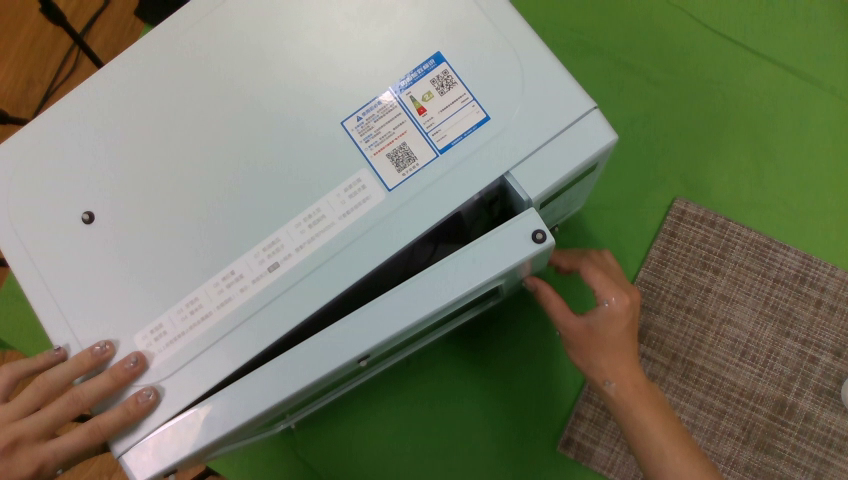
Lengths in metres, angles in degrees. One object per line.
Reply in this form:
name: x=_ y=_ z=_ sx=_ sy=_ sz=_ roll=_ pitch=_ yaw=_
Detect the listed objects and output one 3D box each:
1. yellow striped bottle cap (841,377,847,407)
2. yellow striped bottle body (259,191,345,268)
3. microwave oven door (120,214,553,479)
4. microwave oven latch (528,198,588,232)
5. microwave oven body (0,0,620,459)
yellow striped bottle cap: x=0.440 y=0.153 z=0.599 sx=0.044 sy=0.019 sz=0.044 roll=-1 pitch=81 yaw=9
yellow striped bottle body: x=-0.117 y=-0.009 z=0.582 sx=0.063 sy=0.120 sz=0.062 roll=0 pitch=82 yaw=3
microwave oven door: x=-0.049 y=0.097 z=0.546 sx=0.356 sy=0.245 sz=0.039 roll=-31 pitch=77 yaw=2
microwave oven latch: x=0.135 y=-0.029 z=0.643 sx=0.079 sy=0.029 sz=0.030 roll=-35 pitch=79 yaw=2
microwave oven body: x=-0.107 y=-0.057 z=0.581 sx=0.442 sy=0.261 sz=0.324 roll=-36 pitch=79 yaw=2
